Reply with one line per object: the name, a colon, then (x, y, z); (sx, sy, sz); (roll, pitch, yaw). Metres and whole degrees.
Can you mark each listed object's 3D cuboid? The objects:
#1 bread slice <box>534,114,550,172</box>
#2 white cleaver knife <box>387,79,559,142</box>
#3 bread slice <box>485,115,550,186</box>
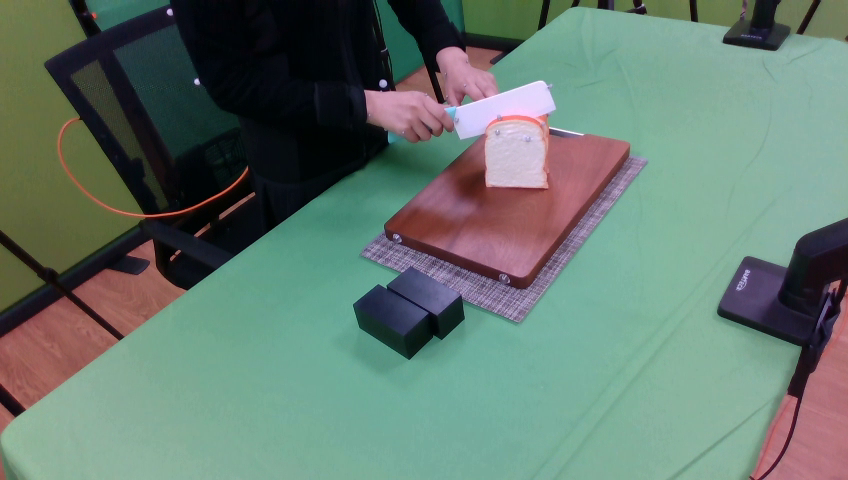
bread slice: (0.165, -0.175, 1.032); (0.104, 0.132, 0.019); (4, 36, 12)
white cleaver knife: (0.071, -0.194, 0.975); (0.285, 0.066, 0.021); (-11, 36, 21)
bread slice: (0.150, -0.144, 0.995); (0.106, 0.135, 0.018); (-2, 42, 14)
